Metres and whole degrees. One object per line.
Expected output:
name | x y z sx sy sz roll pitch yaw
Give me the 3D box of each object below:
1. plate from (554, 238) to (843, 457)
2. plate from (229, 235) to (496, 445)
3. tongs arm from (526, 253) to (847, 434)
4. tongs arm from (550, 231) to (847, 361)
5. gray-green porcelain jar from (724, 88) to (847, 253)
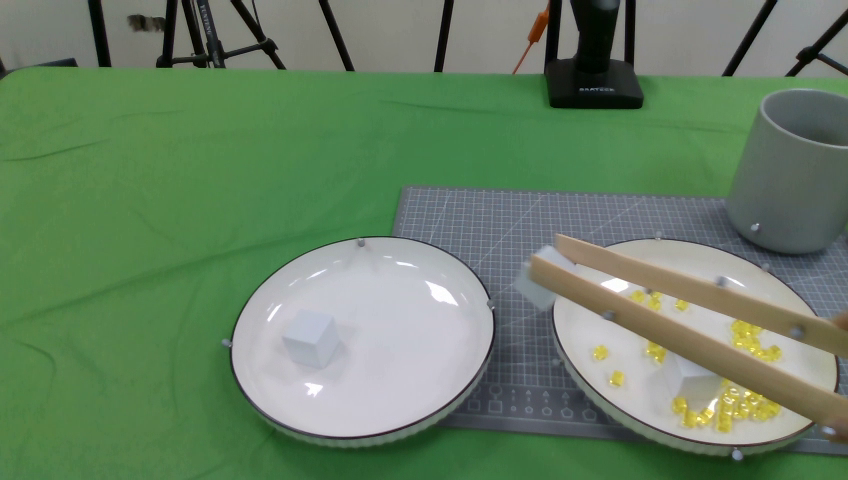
plate | 0.206 0.079 0.477 0.208 0.039 0.205 -1 41 1
plate | -0.047 0.076 0.489 0.209 0.038 0.207 -2 41 2
tongs arm | 0.222 0.084 0.334 0.384 0.028 0.028 24 45 33
tongs arm | 0.237 0.071 0.346 0.382 0.027 0.050 20 46 30
gray-green porcelain jar | 0.347 -0.059 0.562 0.106 0.127 0.105 -1 41 1
